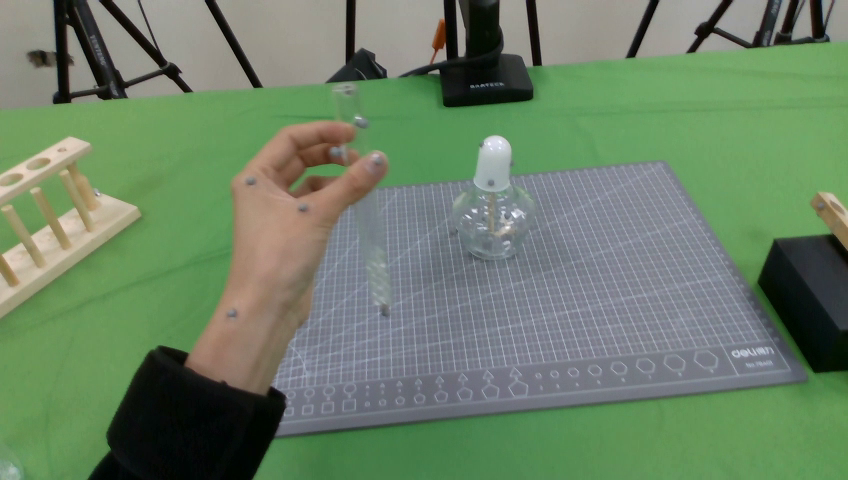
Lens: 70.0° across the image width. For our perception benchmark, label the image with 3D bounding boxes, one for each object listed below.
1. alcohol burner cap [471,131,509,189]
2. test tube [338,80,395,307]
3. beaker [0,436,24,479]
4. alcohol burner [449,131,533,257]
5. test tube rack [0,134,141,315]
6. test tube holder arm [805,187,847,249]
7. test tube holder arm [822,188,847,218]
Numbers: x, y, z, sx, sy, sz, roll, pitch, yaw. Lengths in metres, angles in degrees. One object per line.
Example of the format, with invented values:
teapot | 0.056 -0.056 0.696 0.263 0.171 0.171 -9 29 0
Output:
alcohol burner cap | 0.059 -0.071 0.524 0.034 0.048 0.033 1 41 -1
test tube | -0.034 -0.022 0.375 0.017 0.151 0.017 -5 27 3
beaker | -0.318 0.143 0.387 0.084 0.101 0.073 -22 44 -18
alcohol burner | 0.061 -0.044 0.548 0.078 0.120 0.077 -3 40 3
test tube rack | -0.396 0.003 0.565 0.066 0.086 0.241 19 46 24
test tube holder arm | 0.334 -0.012 0.486 0.010 0.015 0.087 2 41 -5
test tube holder arm | 0.342 0.018 0.453 0.013 0.015 0.176 2 41 -5
